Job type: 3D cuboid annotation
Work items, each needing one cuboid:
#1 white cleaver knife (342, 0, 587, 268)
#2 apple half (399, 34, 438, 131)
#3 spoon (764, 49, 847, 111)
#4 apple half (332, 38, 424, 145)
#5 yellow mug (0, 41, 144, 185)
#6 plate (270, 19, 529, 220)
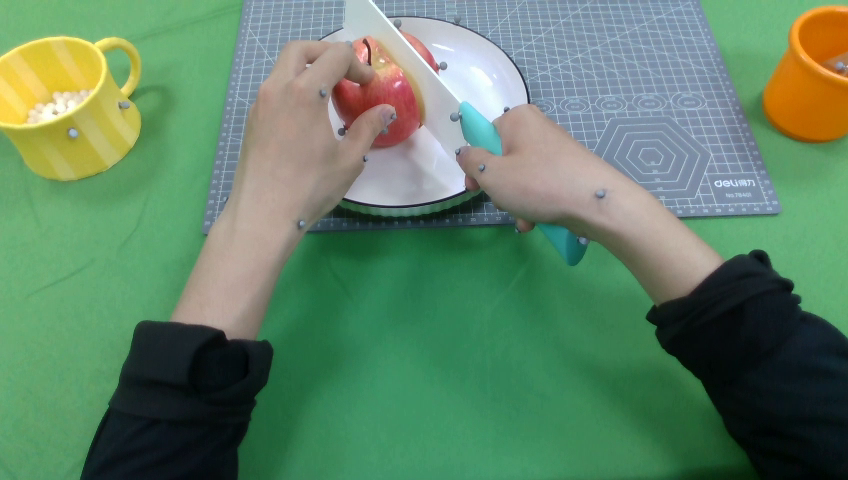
[{"bbox_3d":[0.019,-0.088,0.446,0.021,0.066,0.284,-30,67,-20],"label":"white cleaver knife"},{"bbox_3d":[-0.009,-0.130,0.489,0.033,0.082,0.080,-31,63,-21],"label":"apple half"},{"bbox_3d":[0.364,-0.161,0.468,0.022,0.194,0.041,23,47,-37],"label":"spoon"},{"bbox_3d":[-0.042,-0.109,0.475,0.053,0.075,0.080,-37,67,-11],"label":"apple half"},{"bbox_3d":[-0.287,-0.116,0.503,0.099,0.064,0.130,29,63,17],"label":"yellow mug"},{"bbox_3d":[-0.020,-0.100,0.501,0.209,0.038,0.207,0,59,1],"label":"plate"}]
